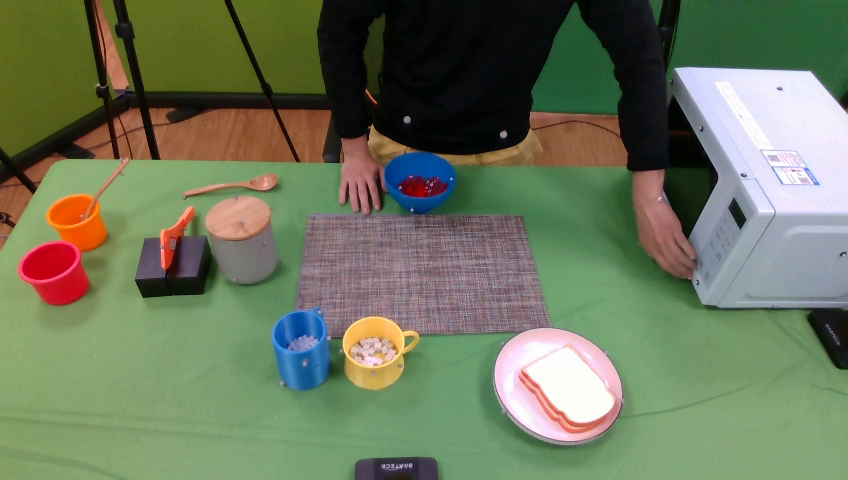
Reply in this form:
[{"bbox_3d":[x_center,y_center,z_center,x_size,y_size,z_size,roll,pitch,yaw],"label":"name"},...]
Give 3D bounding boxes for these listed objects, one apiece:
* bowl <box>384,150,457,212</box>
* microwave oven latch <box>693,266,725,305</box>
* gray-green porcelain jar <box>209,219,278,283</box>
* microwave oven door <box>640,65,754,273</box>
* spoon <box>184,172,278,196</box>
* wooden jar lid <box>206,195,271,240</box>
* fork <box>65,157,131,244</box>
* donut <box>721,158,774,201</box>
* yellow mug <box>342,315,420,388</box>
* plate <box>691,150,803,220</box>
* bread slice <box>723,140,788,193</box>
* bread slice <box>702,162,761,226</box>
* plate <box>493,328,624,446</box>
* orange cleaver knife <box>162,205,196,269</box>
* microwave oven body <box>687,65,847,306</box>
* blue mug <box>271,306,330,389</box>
[{"bbox_3d":[-0.009,-0.112,1.262,0.151,0.077,0.150,2,46,-2],"label":"bowl"},{"bbox_3d":[0.523,0.081,1.115,0.030,0.029,0.078,3,46,0],"label":"microwave oven latch"},{"bbox_3d":[-0.323,0.007,1.092,0.106,0.127,0.105,2,46,-2],"label":"gray-green porcelain jar"},{"bbox_3d":[0.523,-0.147,1.193,0.039,0.245,0.353,0,47,-3],"label":"microwave oven door"},{"bbox_3d":[-0.405,-0.116,1.275,0.194,0.022,0.041,-8,65,-12],"label":"spoon"},{"bbox_3d":[-0.319,-0.036,1.046,0.108,0.021,0.107,1,44,0],"label":"wooden jar lid"},{"bbox_3d":[-0.608,-0.074,1.133,0.207,0.019,0.028,-52,50,10],"label":"fork"},{"bbox_3d":[0.648,-0.121,1.215,0.099,0.048,0.098,-3,56,4],"label":"donut"},{"bbox_3d":[-0.068,0.177,0.990,0.131,0.064,0.099,-16,50,-19],"label":"yellow mug"},{"bbox_3d":[0.652,-0.108,1.237,0.209,0.038,0.208,-1,45,1],"label":"plate"},{"bbox_3d":[0.661,-0.147,1.201,0.107,0.018,0.133,0,53,9],"label":"bread slice"},{"bbox_3d":[0.648,-0.102,1.267,0.105,0.019,0.131,14,72,12],"label":"bread slice"},{"bbox_3d":[0.213,0.236,0.974,0.208,0.039,0.206,2,46,-2],"label":"plate"},{"bbox_3d":[-0.454,-0.010,1.129,0.012,0.077,0.210,-2,20,-5],"label":"orange cleaver knife"},{"bbox_3d":[0.669,-0.111,1.176,0.326,0.261,0.439,0,46,-3],"label":"microwave oven body"},{"bbox_3d":[-0.188,0.163,0.969,0.082,0.106,0.116,15,47,10],"label":"blue mug"}]
